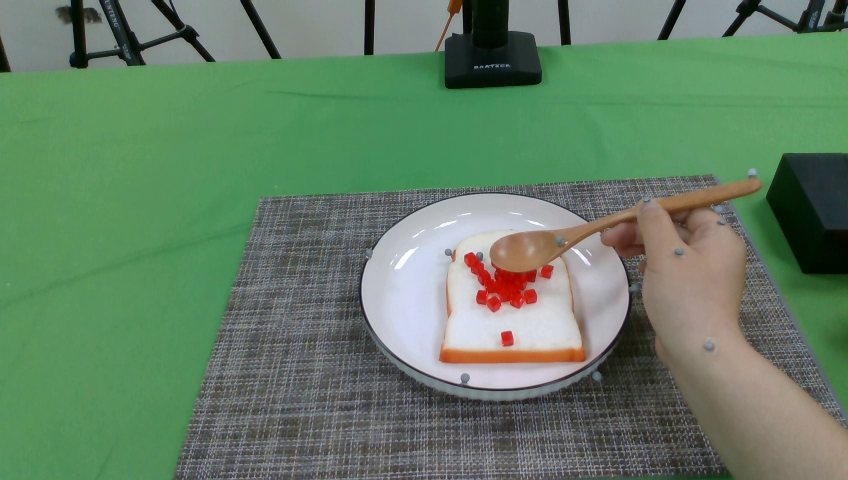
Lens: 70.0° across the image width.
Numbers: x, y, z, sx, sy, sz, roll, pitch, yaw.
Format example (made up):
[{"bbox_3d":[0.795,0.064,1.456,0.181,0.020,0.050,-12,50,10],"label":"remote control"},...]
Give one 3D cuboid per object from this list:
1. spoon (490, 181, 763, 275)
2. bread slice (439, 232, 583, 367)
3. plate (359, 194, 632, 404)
[{"bbox_3d":[0.138,-0.010,0.438,0.193,0.022,0.041,-19,40,27],"label":"spoon"},{"bbox_3d":[0.066,0.043,0.482,0.105,0.019,0.130,0,45,4],"label":"bread slice"},{"bbox_3d":[0.054,0.042,0.480,0.209,0.038,0.207,-3,44,3],"label":"plate"}]
